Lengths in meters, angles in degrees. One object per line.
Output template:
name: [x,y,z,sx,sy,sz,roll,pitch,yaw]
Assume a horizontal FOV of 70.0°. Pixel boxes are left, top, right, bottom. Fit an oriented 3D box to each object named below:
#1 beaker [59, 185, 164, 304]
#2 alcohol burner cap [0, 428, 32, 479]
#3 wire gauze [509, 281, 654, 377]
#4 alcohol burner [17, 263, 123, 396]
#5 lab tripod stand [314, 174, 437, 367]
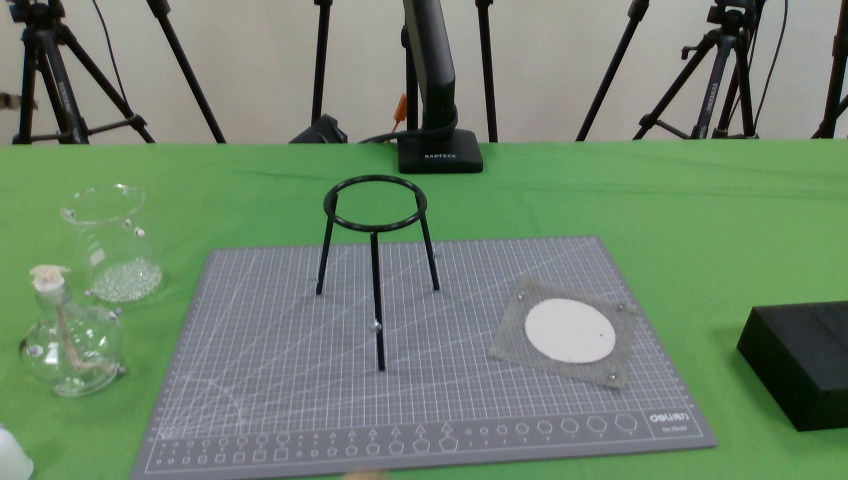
beaker: [-0.304,0.005,0.602,0.074,0.101,0.083,5,34,4]
alcohol burner cap: [-0.307,0.155,0.433,0.034,0.048,0.033,1,33,-1]
wire gauze: [0.142,0.077,0.564,0.125,0.011,0.120,7,32,-3]
alcohol burner: [-0.293,0.069,0.496,0.078,0.120,0.077,2,33,-1]
lab tripod stand: [-0.043,0.020,0.556,0.148,0.132,0.147,3,36,-1]
